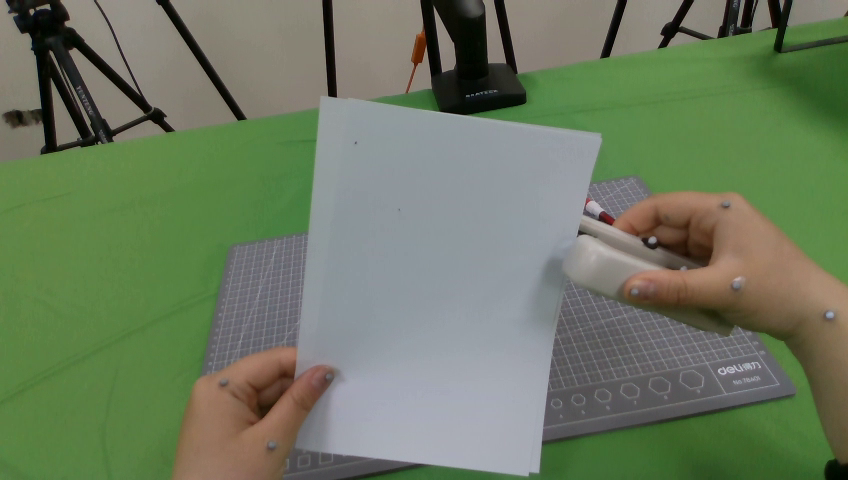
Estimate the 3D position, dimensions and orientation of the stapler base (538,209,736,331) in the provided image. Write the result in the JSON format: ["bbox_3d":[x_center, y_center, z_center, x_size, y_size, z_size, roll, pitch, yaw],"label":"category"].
[{"bbox_3d":[0.135,0.022,0.374,0.131,0.041,0.024,21,17,-11],"label":"stapler base"}]

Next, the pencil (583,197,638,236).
[{"bbox_3d":[0.209,0.010,0.558,0.012,0.012,0.192,-22,41,-16],"label":"pencil"}]

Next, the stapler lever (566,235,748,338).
[{"bbox_3d":[0.138,0.029,0.352,0.118,0.027,0.040,22,17,-9],"label":"stapler lever"}]
